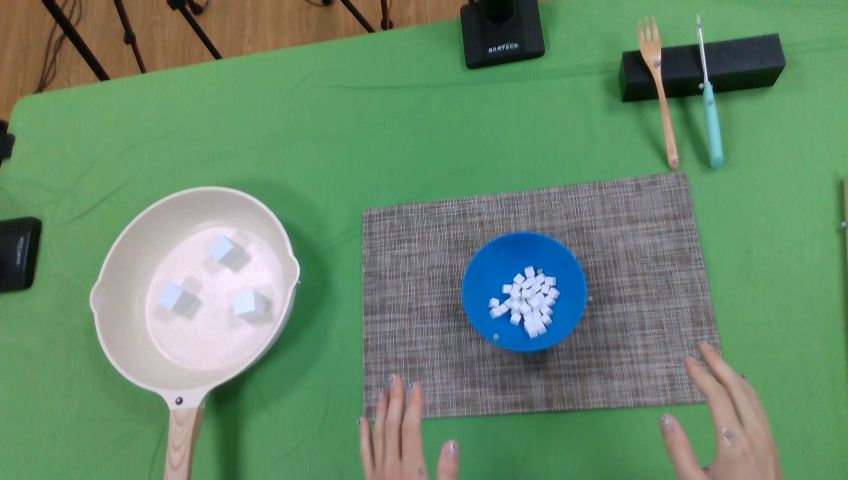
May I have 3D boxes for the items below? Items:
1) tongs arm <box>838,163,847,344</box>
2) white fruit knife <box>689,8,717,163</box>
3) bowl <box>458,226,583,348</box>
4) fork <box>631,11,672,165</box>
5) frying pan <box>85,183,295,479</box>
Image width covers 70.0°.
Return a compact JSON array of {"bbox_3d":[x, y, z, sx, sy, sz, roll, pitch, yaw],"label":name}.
[{"bbox_3d":[0.513,0.090,0.710,0.028,0.028,0.385,3,73,10],"label":"tongs arm"},{"bbox_3d":[0.367,-0.206,0.802,0.016,0.027,0.207,-8,88,14],"label":"white fruit knife"},{"bbox_3d":[0.121,0.066,0.761,0.151,0.077,0.150,-3,71,10],"label":"bowl"},{"bbox_3d":[0.309,-0.203,0.813,0.028,0.018,0.207,-12,91,3],"label":"fork"},{"bbox_3d":[-0.312,0.157,0.803,0.306,0.104,0.483,-7,63,9],"label":"frying pan"}]
